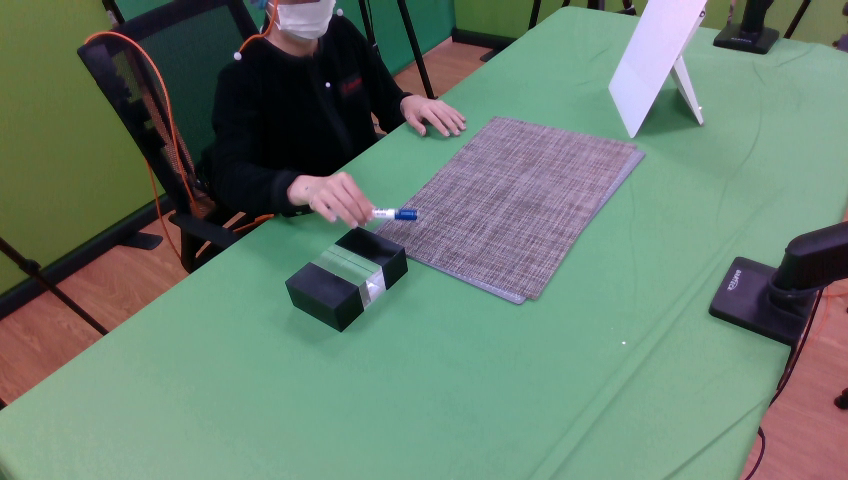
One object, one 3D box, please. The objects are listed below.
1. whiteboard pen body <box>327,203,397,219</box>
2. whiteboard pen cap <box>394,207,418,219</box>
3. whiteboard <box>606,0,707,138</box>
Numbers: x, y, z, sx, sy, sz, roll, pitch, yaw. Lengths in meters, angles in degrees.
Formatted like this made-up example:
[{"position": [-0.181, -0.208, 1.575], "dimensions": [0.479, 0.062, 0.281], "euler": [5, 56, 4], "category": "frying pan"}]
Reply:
[{"position": [-0.081, -0.043, 0.911], "dimensions": [0.140, 0.017, 0.017], "euler": [6, 42, 16], "category": "whiteboard pen body"}, {"position": [-0.027, -0.040, 0.890], "dimensions": [0.033, 0.018, 0.018], "euler": [5, 42, 20], "category": "whiteboard pen cap"}, {"position": [0.496, -0.358, 1.147], "dimensions": [0.144, 0.305, 0.216], "euler": [12, 40, -7], "category": "whiteboard"}]
